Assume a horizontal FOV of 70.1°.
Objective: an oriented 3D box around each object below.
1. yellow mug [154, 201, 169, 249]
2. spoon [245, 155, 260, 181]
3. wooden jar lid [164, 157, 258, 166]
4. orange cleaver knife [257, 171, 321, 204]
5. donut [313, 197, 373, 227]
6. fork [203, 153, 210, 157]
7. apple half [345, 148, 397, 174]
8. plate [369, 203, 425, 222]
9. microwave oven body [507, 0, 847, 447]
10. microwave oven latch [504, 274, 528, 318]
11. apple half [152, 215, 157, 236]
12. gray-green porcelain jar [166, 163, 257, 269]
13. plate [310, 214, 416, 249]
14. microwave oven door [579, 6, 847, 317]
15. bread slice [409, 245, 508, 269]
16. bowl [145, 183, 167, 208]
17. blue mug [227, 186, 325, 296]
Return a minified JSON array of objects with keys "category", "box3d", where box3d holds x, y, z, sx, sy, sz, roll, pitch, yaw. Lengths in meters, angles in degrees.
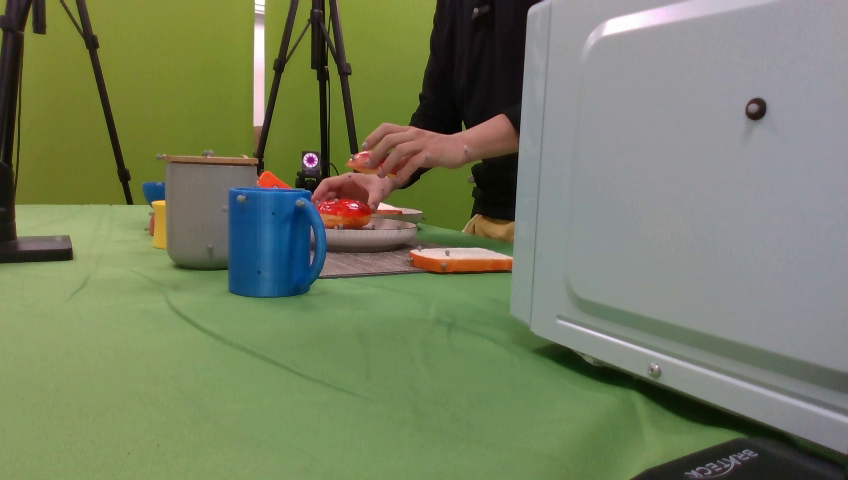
[{"category":"yellow mug","box3d":[-0.337,-0.022,0.899,0.130,0.064,0.100,8,9,34]},{"category":"spoon","box3d":[-0.421,-0.150,1.540,0.042,0.021,0.193,-5,55,-37]},{"category":"wooden jar lid","box3d":[-0.261,-0.093,0.746,0.108,0.020,0.108,0,9,0]},{"category":"orange cleaver knife","box3d":[-0.283,-0.087,1.343,0.212,0.077,0.012,24,-16,-41]},{"category":"donut","box3d":[-0.130,-0.043,0.958,0.099,0.048,0.099,-2,6,1]},{"category":"fork","box3d":[-0.480,-0.134,1.411,0.028,0.018,0.207,1,-35,0]},{"category":"apple half","box3d":[-0.075,-0.119,0.900,0.081,0.033,0.081,9,2,0]},{"category":"plate","box3d":[-0.102,-0.053,1.299,0.209,0.038,0.209,2,8,0]},{"category":"microwave oven body","box3d":[0.331,-0.042,0.425,0.444,0.260,0.324,-2,8,-31]},{"category":"microwave oven latch","box3d":[0.100,0.041,0.471,0.079,0.029,0.030,-1,8,-28]},{"category":"apple half","box3d":[-0.415,-0.034,1.017,0.081,0.053,0.074,1,10,-9]},{"category":"gray-green porcelain jar","box3d":[-0.263,-0.031,0.754,0.106,0.126,0.106,2,7,0]},{"category":"plate","box3d":[-0.116,-0.014,0.967,0.208,0.039,0.207,2,8,0]},{"category":"microwave oven door","box3d":[0.294,-0.067,0.570,0.358,0.243,0.039,-3,9,-31]},{"category":"bread slice","box3d":[0.048,0.021,0.816,0.132,0.019,0.104,0,7,-24]},{"category":"bowl","box3d":[-0.459,-0.068,1.175,0.151,0.077,0.151,2,7,0]},{"category":"blue mug","box3d":[-0.147,0.000,0.618,0.116,0.106,0.083,7,9,32]}]
